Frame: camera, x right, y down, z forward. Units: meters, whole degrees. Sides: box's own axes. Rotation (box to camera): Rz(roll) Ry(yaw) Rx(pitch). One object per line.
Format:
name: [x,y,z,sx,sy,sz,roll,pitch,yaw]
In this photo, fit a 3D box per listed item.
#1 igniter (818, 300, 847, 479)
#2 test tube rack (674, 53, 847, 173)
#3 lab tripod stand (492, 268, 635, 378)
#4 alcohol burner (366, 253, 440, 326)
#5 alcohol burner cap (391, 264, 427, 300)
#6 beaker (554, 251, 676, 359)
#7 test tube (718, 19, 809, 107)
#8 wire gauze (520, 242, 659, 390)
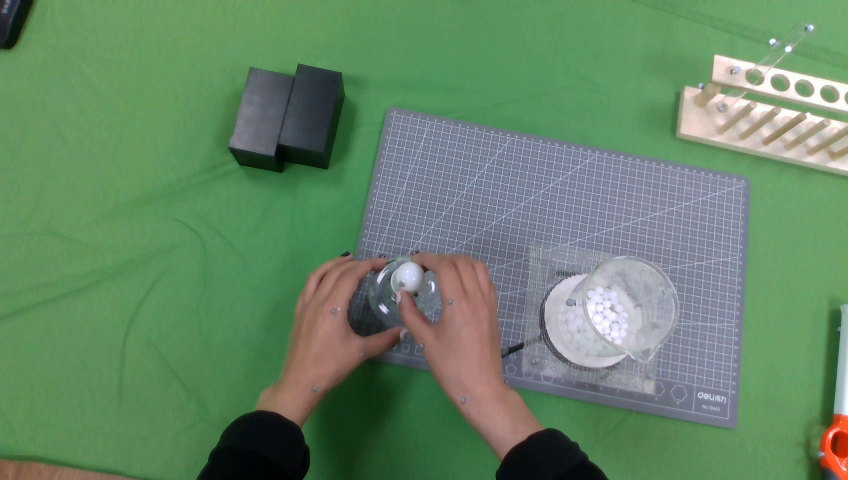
igniter: [0.462,0.201,0.666,0.057,0.025,0.275,18,76,-9]
test tube rack: [0.437,-0.146,0.720,0.242,0.085,0.066,12,75,0]
lab tripod stand: [0.145,0.085,0.616,0.148,0.132,0.147,1,75,-2]
alcohol burner: [-0.021,0.047,0.624,0.078,0.119,0.077,1,73,-3]
alcohol burner cap: [-0.013,0.039,0.574,0.034,0.048,0.033,2,80,-9]
beaker: [0.154,0.061,0.504,0.074,0.100,0.083,-11,76,-5]
test tube: [0.373,-0.192,0.676,0.017,0.151,0.017,1,72,-4]
wire gauze: [0.151,0.067,0.553,0.125,0.011,0.121,9,73,1]
